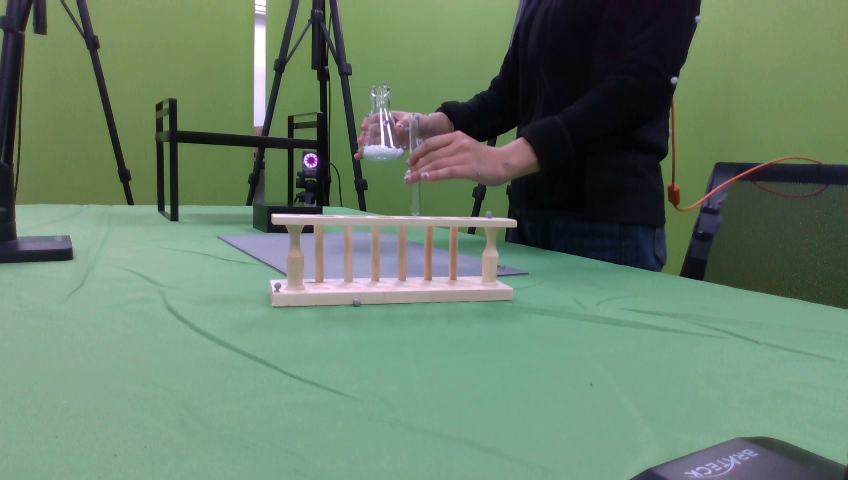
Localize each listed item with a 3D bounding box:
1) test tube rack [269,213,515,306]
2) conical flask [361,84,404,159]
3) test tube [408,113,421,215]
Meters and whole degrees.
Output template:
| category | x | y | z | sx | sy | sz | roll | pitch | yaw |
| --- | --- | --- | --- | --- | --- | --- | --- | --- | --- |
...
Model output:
| category | x | y | z | sx | sy | sz | roll | pitch | yaw |
| --- | --- | --- | --- | --- | --- | --- | --- | --- | --- |
| test tube rack | -0.032 | 0.015 | 0.617 | 0.243 | 0.085 | 0.066 | 0 | 7 | -17 |
| conical flask | -0.075 | -0.203 | 1.041 | 0.075 | 0.121 | 0.075 | -4 | 0 | 0 |
| test tube | -0.014 | -0.112 | 0.901 | 0.017 | 0.150 | 0.017 | -1 | 6 | 0 |
